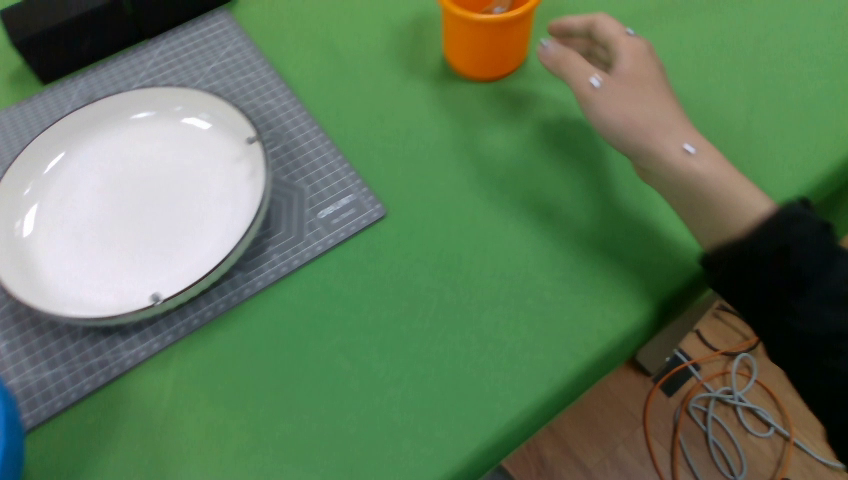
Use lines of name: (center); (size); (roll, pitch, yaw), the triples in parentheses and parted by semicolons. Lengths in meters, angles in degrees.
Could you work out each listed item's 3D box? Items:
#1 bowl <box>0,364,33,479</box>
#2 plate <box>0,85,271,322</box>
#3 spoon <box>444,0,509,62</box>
bowl: (-0.295, 0.134, 0.353); (0.151, 0.077, 0.150); (0, 65, 0)
plate: (-0.218, -0.030, 0.464); (0.209, 0.038, 0.207); (-1, 60, 2)
spoon: (0.085, -0.224, 0.501); (0.022, 0.194, 0.041); (0, 52, -51)
